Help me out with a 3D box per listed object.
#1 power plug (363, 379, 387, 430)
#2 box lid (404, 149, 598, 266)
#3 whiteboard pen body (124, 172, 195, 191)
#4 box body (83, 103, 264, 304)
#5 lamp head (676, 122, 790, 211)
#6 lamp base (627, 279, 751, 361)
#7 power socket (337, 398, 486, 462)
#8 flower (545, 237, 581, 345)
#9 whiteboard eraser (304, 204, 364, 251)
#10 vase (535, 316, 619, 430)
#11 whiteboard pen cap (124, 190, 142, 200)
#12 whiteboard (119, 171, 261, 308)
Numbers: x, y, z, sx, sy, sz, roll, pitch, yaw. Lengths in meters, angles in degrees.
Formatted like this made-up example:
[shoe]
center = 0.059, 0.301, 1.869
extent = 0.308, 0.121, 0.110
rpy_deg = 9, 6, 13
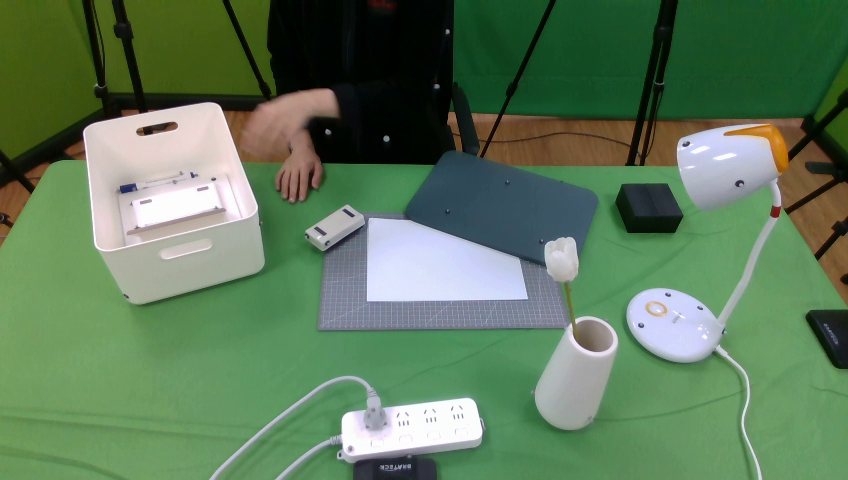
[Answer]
[power plug]
center = -0.071, 0.252, 0.911
extent = 0.035, 0.053, 0.072
rpy_deg = 3, 40, 0
[box lid]
center = 0.171, -0.073, 1.289
extent = 0.371, 0.015, 0.262
rpy_deg = 19, 47, 14
[whiteboard pen body]
center = -0.553, -0.121, 1.268
extent = 0.141, 0.017, 0.017
rpy_deg = -16, 50, -18
[box body]
center = -0.465, -0.076, 1.137
extent = 0.254, 0.161, 0.361
rpy_deg = -16, 49, -19
[lamp head]
center = 0.423, -0.104, 0.819
extent = 0.122, 0.113, 0.112
rpy_deg = -13, 33, 40
[lamp base]
center = 0.460, 0.100, 1.027
extent = 0.178, 0.181, 0.160
rpy_deg = 27, 51, 17
[power socket]
center = -0.018, 0.285, 0.914
extent = 0.227, 0.033, 0.071
rpy_deg = -4, 46, -8
[flower]
center = 0.213, 0.137, 0.846
extent = 0.038, 0.364, 0.044
rpy_deg = 21, 55, 40
[whiteboard eraser]
center = -0.175, -0.022, 1.188
extent = 0.055, 0.042, 0.112
rpy_deg = 36, 54, 26
[vase]
center = 0.229, 0.200, 0.900
extent = 0.098, 0.201, 0.097
rpy_deg = 3, 46, -3
[whiteboard pen cap]
center = -0.591, -0.091, 1.233
extent = 0.033, 0.018, 0.018
rpy_deg = -14, 49, -17
[whiteboard]
center = -0.464, -0.060, 1.137
extent = 0.217, 0.144, 0.303
rpy_deg = -19, 51, -17
